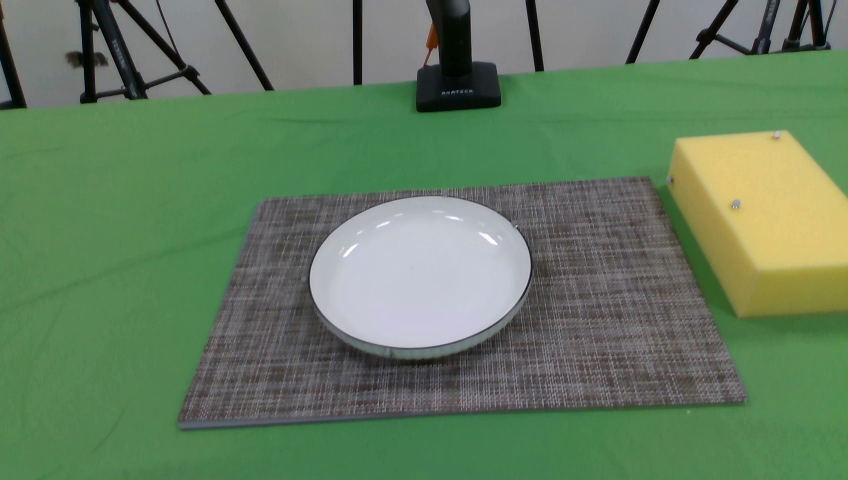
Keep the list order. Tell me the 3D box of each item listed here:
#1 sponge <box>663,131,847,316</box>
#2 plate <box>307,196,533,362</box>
[{"bbox_3d":[0.326,-0.024,0.584,0.118,0.061,0.204,-5,40,2],"label":"sponge"},{"bbox_3d":[-0.003,0.035,0.568,0.207,0.039,0.205,-3,40,3],"label":"plate"}]
